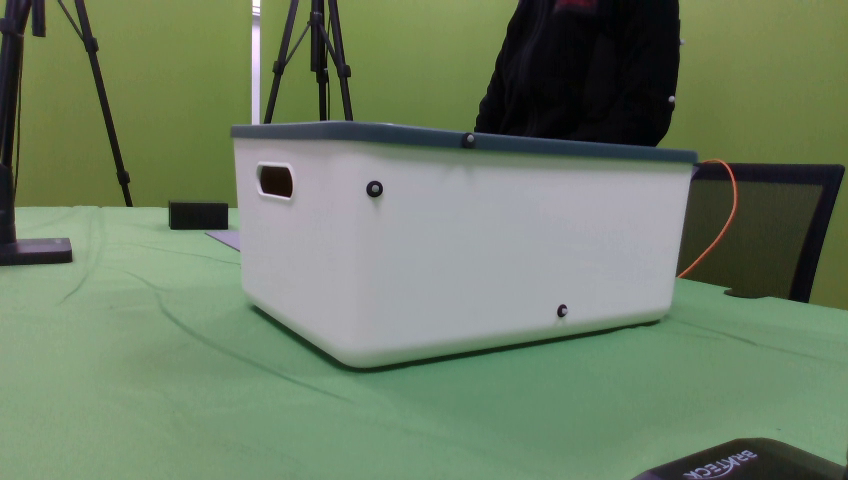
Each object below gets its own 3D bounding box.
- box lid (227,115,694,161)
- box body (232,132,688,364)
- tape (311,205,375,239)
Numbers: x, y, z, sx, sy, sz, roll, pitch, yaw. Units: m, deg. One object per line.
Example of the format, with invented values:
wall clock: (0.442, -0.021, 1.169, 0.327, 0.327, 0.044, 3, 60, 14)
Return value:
box lid: (0.032, -0.086, 0.553, 0.373, 0.015, 0.262, -2, 8, -33)
box body: (0.031, -0.013, 0.563, 0.366, 0.160, 0.253, -3, 8, -33)
tape: (-0.145, -0.034, 1.097, 0.117, 0.052, 0.117, 3, 8, 0)
